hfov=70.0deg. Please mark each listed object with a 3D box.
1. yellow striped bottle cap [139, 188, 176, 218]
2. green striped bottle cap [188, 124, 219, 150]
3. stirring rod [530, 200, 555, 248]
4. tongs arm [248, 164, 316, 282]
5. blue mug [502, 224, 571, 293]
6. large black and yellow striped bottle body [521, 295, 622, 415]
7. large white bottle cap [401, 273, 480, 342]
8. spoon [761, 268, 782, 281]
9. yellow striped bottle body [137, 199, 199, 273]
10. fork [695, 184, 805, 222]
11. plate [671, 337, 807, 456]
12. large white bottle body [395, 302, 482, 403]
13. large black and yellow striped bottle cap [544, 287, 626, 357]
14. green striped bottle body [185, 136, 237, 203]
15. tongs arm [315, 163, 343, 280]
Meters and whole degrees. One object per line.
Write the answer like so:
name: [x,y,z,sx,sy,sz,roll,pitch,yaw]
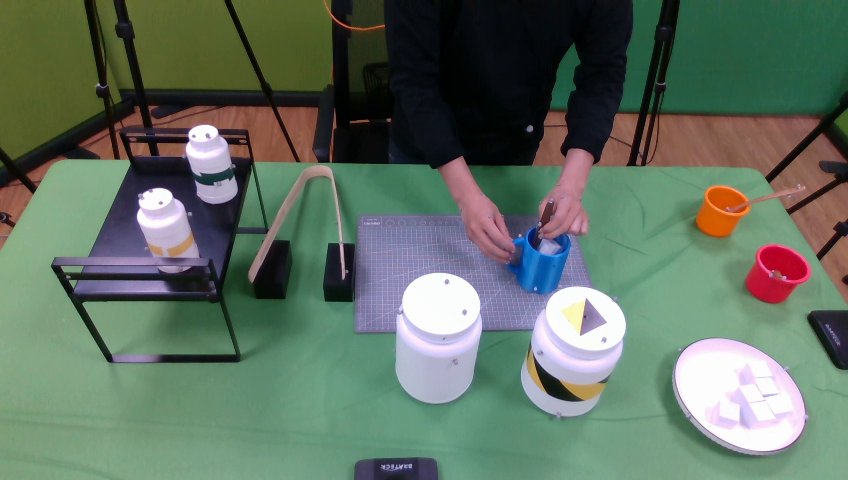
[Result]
yellow striped bottle cap: [-0.363,-0.050,0.826,0.044,0.019,0.044,1,47,-1]
green striped bottle cap: [-0.339,-0.158,0.931,0.044,0.020,0.044,3,48,-3]
stirring rod: [0.200,-0.005,1.082,0.014,0.177,0.006,-13,50,-25]
tongs arm: [-0.269,-0.048,1.165,0.028,0.028,0.385,0,34,7]
blue mug: [0.202,0.032,1.121,0.116,0.106,0.082,9,47,5]
large black and yellow striped bottle body: [0.228,0.173,0.938,0.131,0.185,0.130,2,47,-2]
large white bottle cap: [0.024,0.095,0.878,0.115,0.018,0.114,2,47,-2]
spoon: [0.638,0.060,1.105,0.041,0.021,0.194,38,11,24]
yellow striped bottle body: [-0.366,-0.014,0.863,0.063,0.121,0.062,2,46,-2]
fork: [0.657,-0.075,1.230,0.207,0.019,0.028,-23,32,37]
plate: [0.503,0.254,0.984,0.208,0.039,0.206,2,46,-2]
large white bottle body: [0.020,0.153,0.939,0.131,0.185,0.130,2,46,-2]
large black and yellow striped bottle cap: [0.232,0.116,0.876,0.115,0.019,0.114,2,46,-1]
green striped bottle body: [-0.341,-0.121,0.968,0.063,0.120,0.063,2,46,-2]
tongs arm: [-0.187,-0.049,1.170,0.051,0.026,0.382,-5,35,-6]
